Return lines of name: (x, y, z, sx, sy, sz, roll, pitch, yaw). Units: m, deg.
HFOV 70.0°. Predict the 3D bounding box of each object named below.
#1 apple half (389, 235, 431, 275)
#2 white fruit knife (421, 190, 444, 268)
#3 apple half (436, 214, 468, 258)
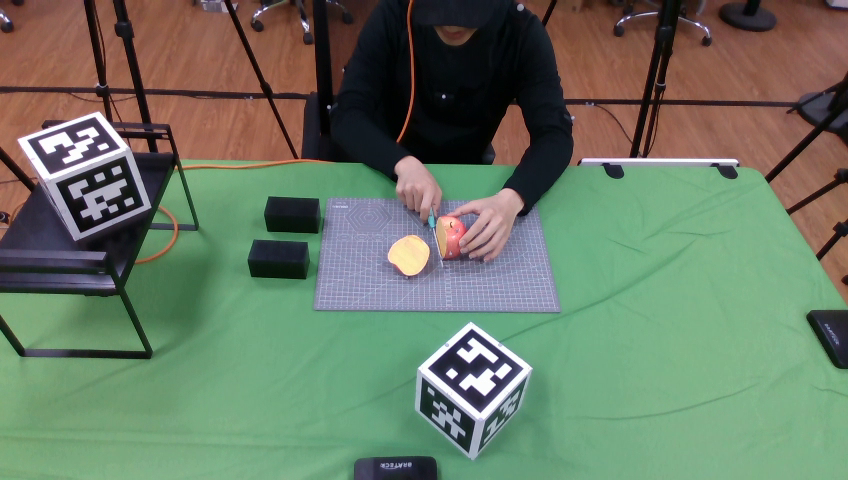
apple half: (-0.023, 0.032, 1.145, 0.081, 0.033, 0.081, -2, 65, 5)
white fruit knife: (0.019, -0.027, 1.208, 0.016, 0.027, 0.206, -11, 52, -5)
apple half: (0.057, -0.007, 1.163, 0.053, 0.075, 0.080, -5, 44, -16)
